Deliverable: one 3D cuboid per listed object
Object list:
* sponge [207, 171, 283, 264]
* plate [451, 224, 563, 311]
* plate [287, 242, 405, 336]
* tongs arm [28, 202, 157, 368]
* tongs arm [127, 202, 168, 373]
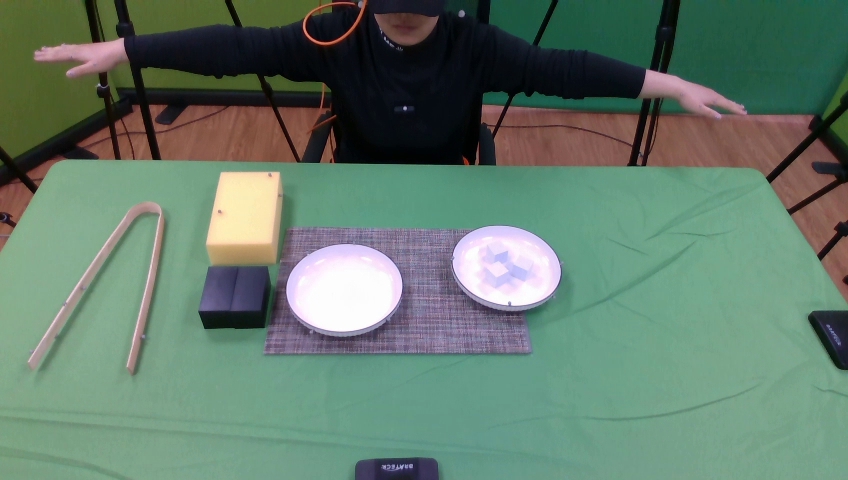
[{"bbox_3d":[-0.346,-0.048,1.191,0.118,0.061,0.205,-2,46,-6],"label":"sponge"},{"bbox_3d":[0.154,0.053,1.140,0.209,0.038,0.208,2,47,-2],"label":"plate"},{"bbox_3d":[-0.138,0.090,1.085,0.208,0.039,0.206,2,46,-2],"label":"plate"},{"bbox_3d":[-0.579,0.064,1.084,0.051,0.026,0.382,6,45,1],"label":"tongs arm"},{"bbox_3d":[-0.497,0.069,1.090,0.028,0.028,0.385,-6,47,-6],"label":"tongs arm"}]
